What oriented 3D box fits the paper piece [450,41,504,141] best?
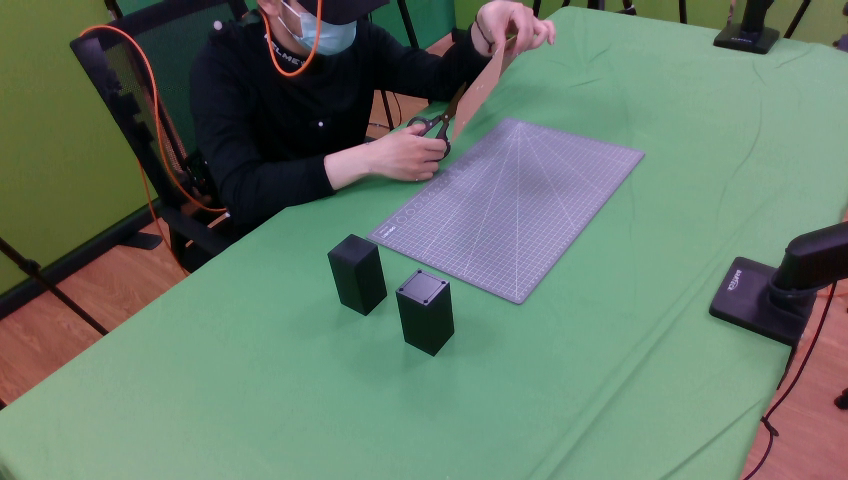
[{"bbox_3d":[0.082,-0.237,0.960,0.004,0.135,0.135,29,42,-13],"label":"paper piece"}]

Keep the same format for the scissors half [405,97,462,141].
[{"bbox_3d":[0.026,-0.226,1.081,0.174,0.040,0.013,-23,23,41],"label":"scissors half"}]

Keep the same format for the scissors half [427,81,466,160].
[{"bbox_3d":[0.044,-0.210,1.082,0.040,0.175,0.013,30,44,10],"label":"scissors half"}]

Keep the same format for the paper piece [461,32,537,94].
[{"bbox_3d":[0.128,-0.309,1.061,0.008,0.135,0.139,52,41,5],"label":"paper piece"}]
